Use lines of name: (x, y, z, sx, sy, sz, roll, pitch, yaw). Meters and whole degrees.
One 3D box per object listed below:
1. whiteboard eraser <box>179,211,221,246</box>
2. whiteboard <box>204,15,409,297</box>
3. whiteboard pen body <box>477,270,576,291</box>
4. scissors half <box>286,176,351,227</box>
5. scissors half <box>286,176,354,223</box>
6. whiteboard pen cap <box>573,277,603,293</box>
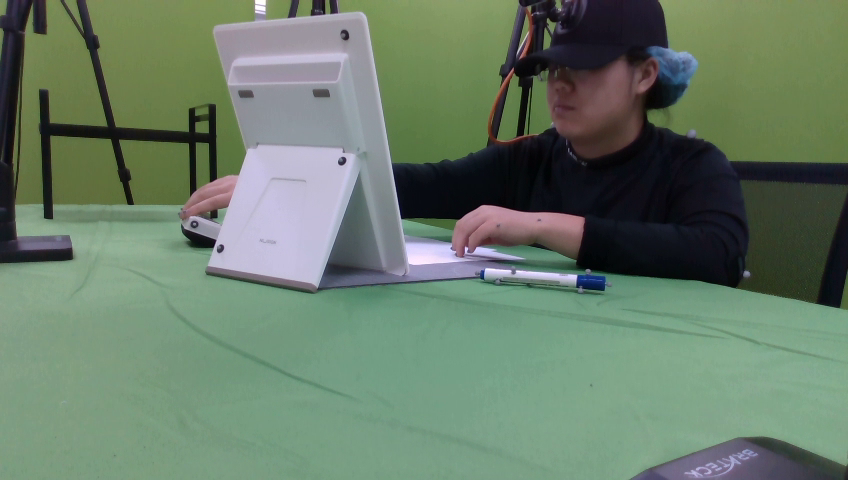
whiteboard eraser: (-0.341, -0.017, 0.925, 0.056, 0.042, 0.112, 26, -6, -26)
whiteboard: (-0.166, -0.072, 0.669, 0.216, 0.305, 0.144, 8, 30, 30)
whiteboard pen body: (0.131, 0.048, 0.706, 0.140, 0.017, 0.017, 4, 7, 18)
scissors half: (-0.232, -0.085, 1.318, 0.175, 0.013, 0.040, 39, 23, 4)
scissors half: (-0.229, -0.091, 1.337, 0.175, 0.013, 0.040, 33, 18, -13)
whiteboard pen cap: (0.186, 0.051, 0.687, 0.033, 0.018, 0.018, 4, 8, 17)
